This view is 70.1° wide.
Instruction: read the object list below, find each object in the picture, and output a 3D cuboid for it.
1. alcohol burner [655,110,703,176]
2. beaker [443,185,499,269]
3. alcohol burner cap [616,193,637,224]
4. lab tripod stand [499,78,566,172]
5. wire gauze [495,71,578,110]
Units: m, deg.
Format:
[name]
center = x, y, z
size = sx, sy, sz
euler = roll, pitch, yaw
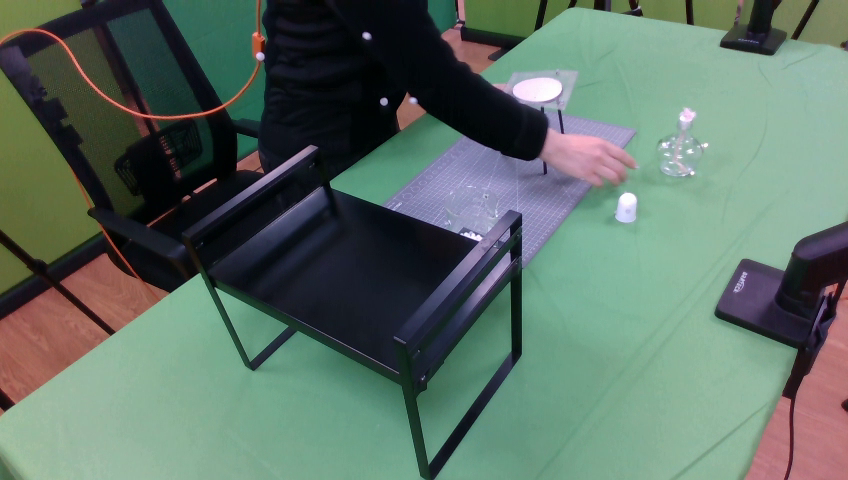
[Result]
[alcohol burner]
center = 0.441, -0.170, 1.037
size = 0.078, 0.119, 0.077
euler = -3, 40, 3
[beaker]
center = 0.071, -0.015, 0.845
size = 0.074, 0.101, 0.083
euler = -35, 48, -28
[alcohol burner cap]
center = 0.327, -0.053, 0.974
size = 0.034, 0.048, 0.033
euler = -4, 38, 4
[lab tripod stand]
center = 0.204, -0.216, 1.107
size = 0.148, 0.132, 0.147
euler = -6, 41, 5
[wire gauze]
center = 0.200, -0.268, 1.065
size = 0.124, 0.011, 0.121
euler = 10, 44, 22
